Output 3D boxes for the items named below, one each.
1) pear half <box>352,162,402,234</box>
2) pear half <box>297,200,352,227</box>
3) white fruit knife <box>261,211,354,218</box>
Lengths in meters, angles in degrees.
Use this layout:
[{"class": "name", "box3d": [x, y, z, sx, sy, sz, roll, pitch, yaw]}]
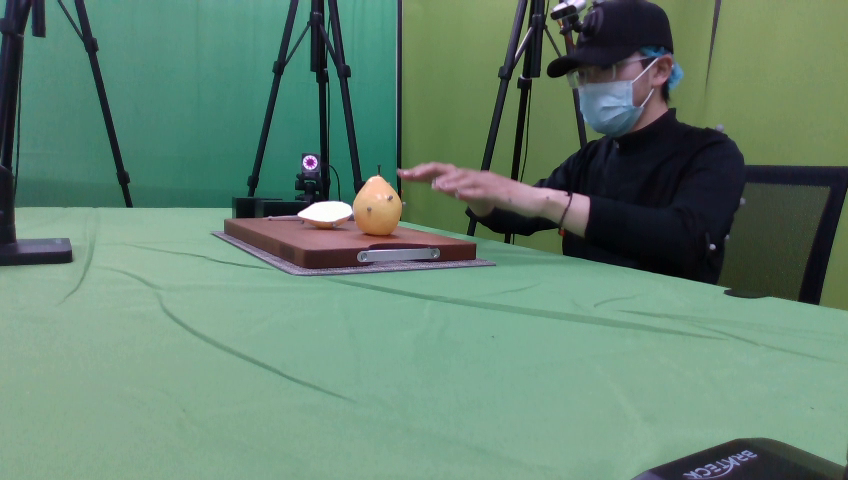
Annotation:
[{"class": "pear half", "box3d": [-0.066, -0.063, 0.921, 0.077, 0.110, 0.055, -8, 12, -39]}, {"class": "pear half", "box3d": [-0.163, -0.038, 0.996, 0.088, 0.031, 0.070, -13, 26, -15]}, {"class": "white fruit knife", "box3d": [-0.199, -0.047, 1.122, 0.208, 0.016, 0.027, -3, -6, -30]}]
